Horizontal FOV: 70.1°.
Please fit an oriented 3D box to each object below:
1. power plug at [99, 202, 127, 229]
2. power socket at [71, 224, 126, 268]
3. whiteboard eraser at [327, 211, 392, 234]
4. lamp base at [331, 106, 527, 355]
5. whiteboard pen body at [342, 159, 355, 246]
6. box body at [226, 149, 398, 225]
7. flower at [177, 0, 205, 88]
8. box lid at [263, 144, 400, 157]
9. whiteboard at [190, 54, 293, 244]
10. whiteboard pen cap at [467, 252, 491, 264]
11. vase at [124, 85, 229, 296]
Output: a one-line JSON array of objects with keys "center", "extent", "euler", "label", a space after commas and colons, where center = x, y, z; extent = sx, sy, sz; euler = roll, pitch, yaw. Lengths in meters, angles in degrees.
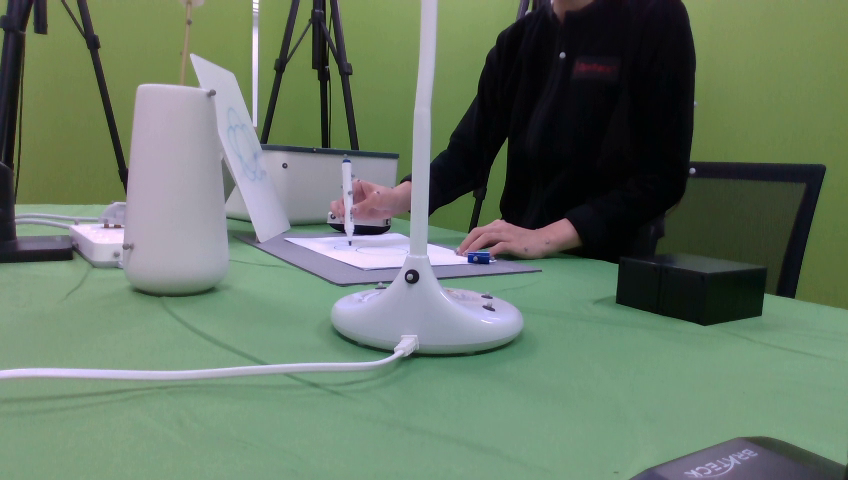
[{"center": [-0.415, -0.026, 0.848], "extent": [0.073, 0.052, 0.035], "euler": [6, 5, -28], "label": "power plug"}, {"center": [-0.409, 0.004, 0.793], "extent": [0.072, 0.032, 0.225], "euler": [-2, 8, -37], "label": "power socket"}, {"center": [-0.120, -0.033, 1.131], "extent": [0.112, 0.042, 0.056], "euler": [5, 8, 13], "label": "whiteboard eraser"}, {"center": [0.006, -0.012, 0.478], "extent": [0.161, 0.180, 0.179], "euler": [2, 10, 2], "label": "lamp base"}, {"center": [-0.120, -0.060, 0.962], "extent": [0.017, 0.140, 0.017], "euler": [-4, -7, 0], "label": "whiteboard pen body"}, {"center": [-0.265, -0.129, 1.380], "extent": [0.253, 0.160, 0.366], "euler": [8, 9, 39], "label": "box body"}, {"center": [-0.243, -0.131, 0.609], "extent": [0.044, 0.361, 0.038], "euler": [-5, -12, 12], "label": "flower"}, {"center": [-0.263, -0.203, 1.369], "extent": [0.262, 0.015, 0.373], "euler": [9, 10, 39], "label": "box lid"}, {"center": [-0.362, -0.129, 1.028], "extent": [0.144, 0.305, 0.217], "euler": [-18, 7, 3], "label": "whiteboard"}, {"center": [0.076, 0.025, 0.842], "extent": [0.033, 0.018, 0.018], "euler": [1, 7, 4], "label": "whiteboard pen cap"}, {"center": [-0.244, -0.047, 0.598], "extent": [0.098, 0.200, 0.098], "euler": [3, 8, 0], "label": "vase"}]
